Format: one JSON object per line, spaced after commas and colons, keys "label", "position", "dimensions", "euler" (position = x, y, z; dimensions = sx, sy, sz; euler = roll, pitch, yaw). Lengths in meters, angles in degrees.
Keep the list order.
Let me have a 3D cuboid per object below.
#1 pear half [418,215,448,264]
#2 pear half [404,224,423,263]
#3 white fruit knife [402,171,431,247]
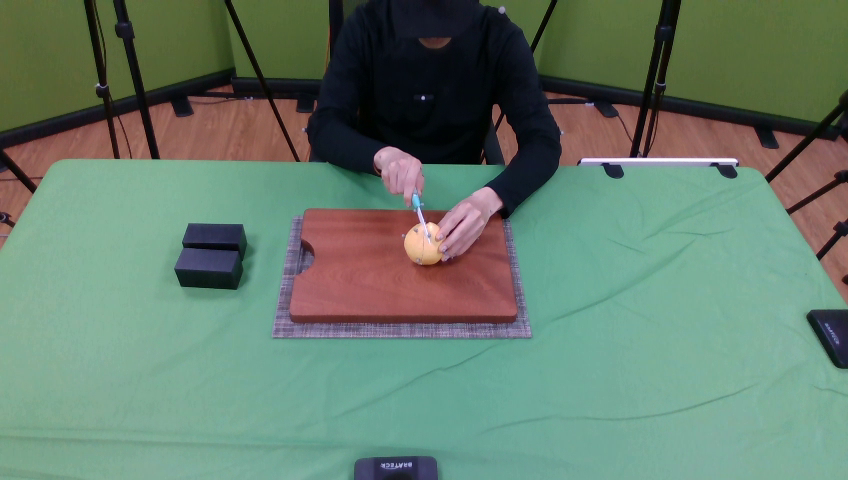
{"label": "pear half", "position": [0.016, -0.006, 1.100], "dimensions": [0.056, 0.110, 0.076], "euler": [-6, 51, -14]}
{"label": "pear half", "position": [-0.020, 0.005, 1.102], "dimensions": [0.031, 0.088, 0.070], "euler": [-9, 54, -11]}
{"label": "white fruit knife", "position": [-0.012, -0.061, 1.102], "dimensions": [0.016, 0.027, 0.206], "euler": [-9, 46, -11]}
